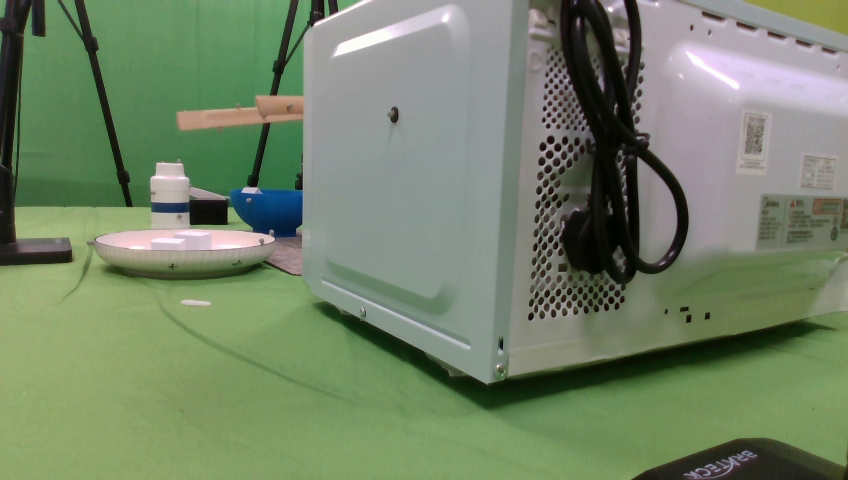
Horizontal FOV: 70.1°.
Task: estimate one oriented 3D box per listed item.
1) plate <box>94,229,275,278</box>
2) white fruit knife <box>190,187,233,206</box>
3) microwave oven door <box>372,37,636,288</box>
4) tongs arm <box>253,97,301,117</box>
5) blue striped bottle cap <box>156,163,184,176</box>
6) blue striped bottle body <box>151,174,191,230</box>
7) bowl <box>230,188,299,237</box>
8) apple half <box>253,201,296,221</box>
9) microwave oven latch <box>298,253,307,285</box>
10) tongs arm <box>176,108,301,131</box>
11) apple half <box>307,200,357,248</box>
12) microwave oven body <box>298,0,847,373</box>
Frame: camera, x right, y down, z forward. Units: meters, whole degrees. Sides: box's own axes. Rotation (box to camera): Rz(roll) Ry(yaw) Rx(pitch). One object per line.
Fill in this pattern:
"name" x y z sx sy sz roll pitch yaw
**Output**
"plate" -0.291 0.016 0.750 0.208 0.039 0.207 2 7 0
"white fruit knife" -0.413 -0.081 1.270 0.208 0.027 0.016 18 14 -41
"microwave oven door" 0.109 -0.080 0.686 0.358 0.243 0.039 -2 9 -33
"tongs arm" -0.162 -0.210 0.948 0.028 0.028 0.388 -11 10 18
"blue striped bottle cap" -0.438 -0.122 1.045 0.044 0.020 0.044 5 6 0
"blue striped bottle body" -0.439 -0.071 1.052 0.063 0.120 0.063 2 7 0
"bowl" -0.264 -0.048 1.066 0.151 0.077 0.151 3 8 0
"apple half" -0.265 -0.052 1.067 0.081 0.033 0.081 3 10 0
"microwave oven latch" -0.081 0.027 0.582 0.079 0.029 0.030 -2 8 -33
"tongs arm" -0.229 -0.206 0.977 0.050 0.026 0.386 -5 11 28
"apple half" -0.135 -0.024 0.941 0.053 0.074 0.081 13 9 39
"microwave oven body" 0.151 -0.055 0.542 0.444 0.260 0.324 -2 7 -33
